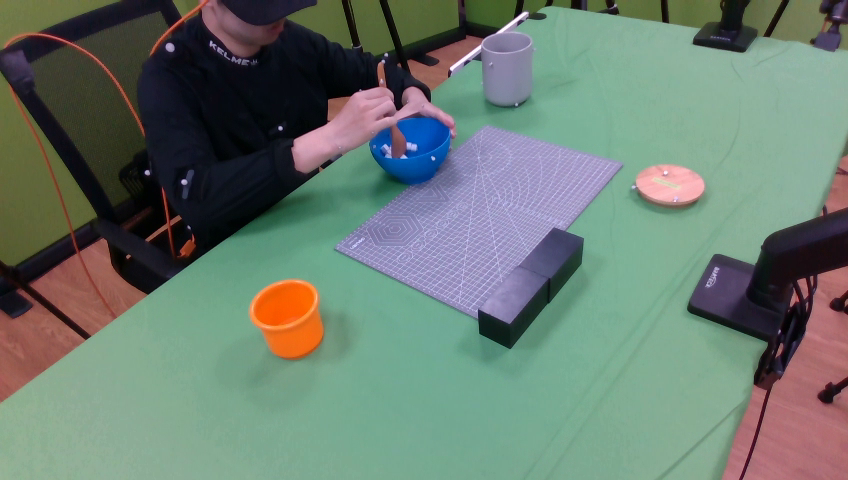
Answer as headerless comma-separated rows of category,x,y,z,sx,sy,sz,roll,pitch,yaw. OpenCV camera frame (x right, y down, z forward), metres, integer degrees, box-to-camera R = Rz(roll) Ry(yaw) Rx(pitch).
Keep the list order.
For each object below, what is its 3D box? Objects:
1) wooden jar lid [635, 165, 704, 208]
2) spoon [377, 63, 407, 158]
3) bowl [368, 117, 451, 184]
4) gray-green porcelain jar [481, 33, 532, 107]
wooden jar lid,0.410,-0.089,1.014,0.108,0.021,0.108,-5,42,5
spoon,-0.060,-0.217,1.060,0.042,0.195,0.021,-38,42,-28
bowl,-0.021,-0.155,1.107,0.151,0.077,0.150,-6,38,5
gray-green porcelain jar,0.175,-0.355,1.278,0.106,0.127,0.105,-4,41,4
